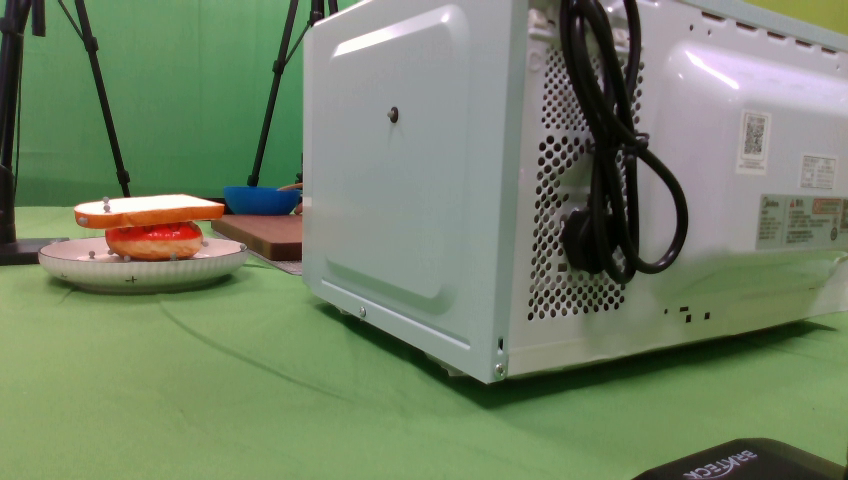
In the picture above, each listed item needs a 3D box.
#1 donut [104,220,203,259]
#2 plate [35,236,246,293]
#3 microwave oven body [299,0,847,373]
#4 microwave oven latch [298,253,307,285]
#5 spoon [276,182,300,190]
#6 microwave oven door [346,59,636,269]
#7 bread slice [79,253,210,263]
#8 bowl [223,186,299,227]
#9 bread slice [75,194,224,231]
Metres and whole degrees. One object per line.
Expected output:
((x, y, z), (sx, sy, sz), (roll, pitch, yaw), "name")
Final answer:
((-0.297, -0.003, 0.669), (0.099, 0.048, 0.099), (3, -1, 0), "donut")
((-0.305, 0.026, 0.668), (0.208, 0.039, 0.207), (2, 7, 0), "plate")
((0.151, -0.055, 0.542), (0.444, 0.260, 0.324), (-2, 7, -33), "microwave oven body")
((-0.081, 0.027, 0.582), (0.079, 0.029, 0.030), (-1, 7, -32), "microwave oven latch")
((-0.301, -0.102, 1.267), (0.194, 0.021, 0.041), (-23, 9, -23), "spoon")
((0.086, -0.089, 0.750), (0.357, 0.243, 0.039), (1, 8, -10), "microwave oven door")
((-0.302, 0.027, 0.662), (0.132, 0.019, 0.104), (-4, 8, -45), "bread slice")
((-0.331, -0.068, 1.231), (0.151, 0.077, 0.151), (3, 7, 0), "bowl")
((-0.301, -0.032, 0.659), (0.106, 0.018, 0.135), (10, 17, 41), "bread slice")
